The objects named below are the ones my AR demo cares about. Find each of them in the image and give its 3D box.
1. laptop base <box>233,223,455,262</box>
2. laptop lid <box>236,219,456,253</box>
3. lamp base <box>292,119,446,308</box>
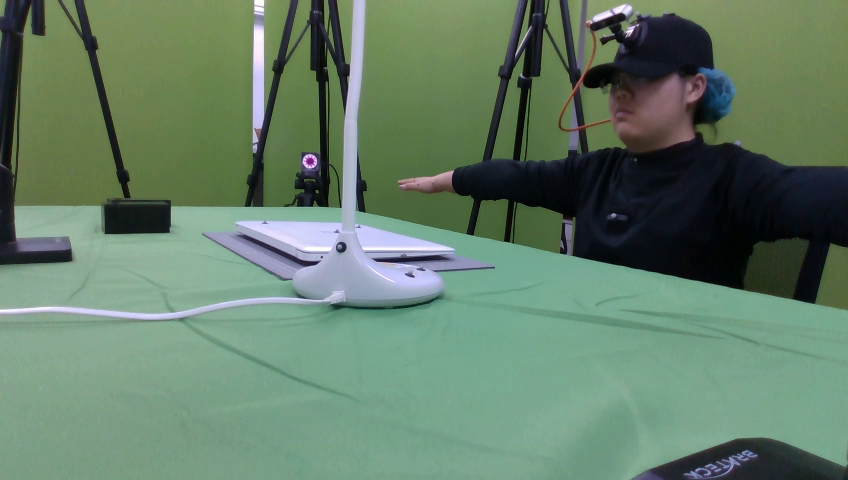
[{"bbox_3d":[-0.142,0.003,0.959,0.237,0.023,0.352,2,6,-32],"label":"laptop base"},{"bbox_3d":[-0.139,-0.009,0.959,0.243,0.013,0.355,1,7,-31],"label":"laptop lid"},{"bbox_3d":[-0.056,-0.030,0.616,0.160,0.180,0.179,3,10,8],"label":"lamp base"}]
